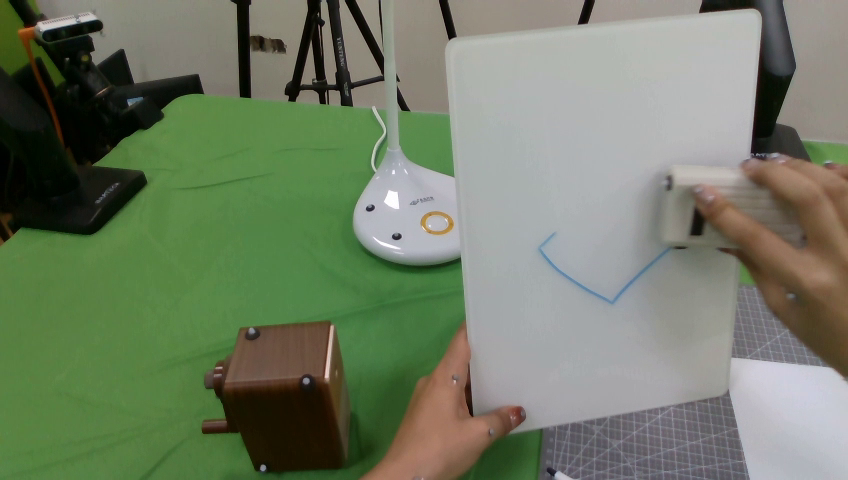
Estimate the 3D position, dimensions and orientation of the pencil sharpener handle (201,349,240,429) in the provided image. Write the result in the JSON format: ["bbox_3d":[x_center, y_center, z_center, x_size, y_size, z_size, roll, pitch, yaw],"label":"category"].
[{"bbox_3d":[-0.153,0.112,0.444,0.030,0.068,0.035,-3,27,-1],"label":"pencil sharpener handle"}]

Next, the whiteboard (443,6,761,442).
[{"bbox_3d":[0.124,-0.020,0.502,0.217,0.307,0.142,-8,20,-6],"label":"whiteboard"}]

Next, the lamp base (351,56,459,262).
[{"bbox_3d":[-0.013,-0.095,0.655,0.161,0.182,0.177,-25,42,-26],"label":"lamp base"}]

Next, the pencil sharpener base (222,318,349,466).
[{"bbox_3d":[-0.101,0.117,0.456,0.077,0.108,0.061,-4,40,-1],"label":"pencil sharpener base"}]

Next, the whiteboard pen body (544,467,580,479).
[{"bbox_3d":[0.142,0.195,0.415,0.139,0.017,0.017,26,47,33],"label":"whiteboard pen body"}]

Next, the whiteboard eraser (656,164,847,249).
[{"bbox_3d":[0.223,-0.024,0.418,0.112,0.056,0.041,1,28,8],"label":"whiteboard eraser"}]
